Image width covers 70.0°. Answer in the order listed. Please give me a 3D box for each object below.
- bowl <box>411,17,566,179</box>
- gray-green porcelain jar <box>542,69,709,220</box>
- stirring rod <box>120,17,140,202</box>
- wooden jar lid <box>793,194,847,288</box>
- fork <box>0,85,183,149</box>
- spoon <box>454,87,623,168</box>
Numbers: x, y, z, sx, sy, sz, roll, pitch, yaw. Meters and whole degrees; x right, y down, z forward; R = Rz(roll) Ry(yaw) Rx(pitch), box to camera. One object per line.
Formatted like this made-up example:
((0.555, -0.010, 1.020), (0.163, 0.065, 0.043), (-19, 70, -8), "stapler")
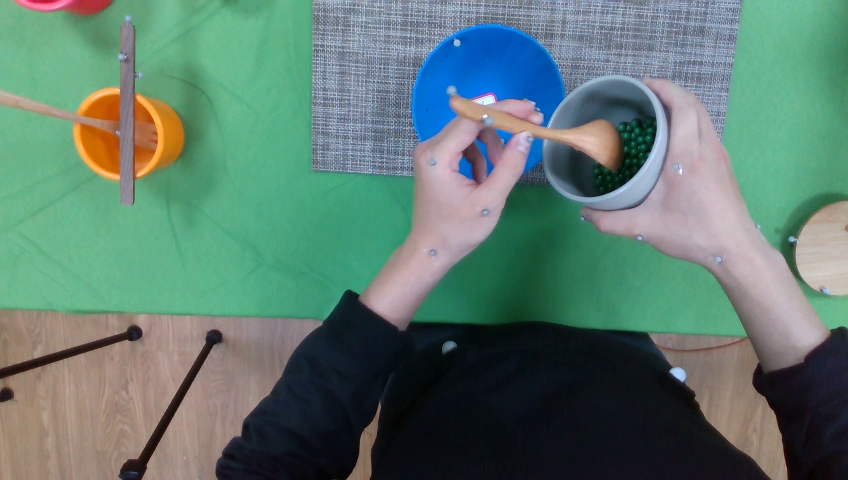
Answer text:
((0.063, -0.142, 0.621), (0.151, 0.076, 0.152), (0, 103, 1), "bowl")
((0.181, -0.077, 0.532), (0.127, 0.104, 0.106), (13, 106, -46), "gray-green porcelain jar")
((-0.287, -0.125, 0.592), (0.014, 0.006, 0.176), (5, 103, 1), "stirring rod")
((0.468, 0.001, 0.684), (0.108, 0.020, 0.109), (0, 103, 1), "wooden jar lid")
((-0.341, -0.125, 0.594), (0.209, 0.018, 0.028), (12, 109, -46), "fork")
((0.094, -0.084, 0.452), (0.195, 0.021, 0.041), (5, 82, -36), "spoon")
